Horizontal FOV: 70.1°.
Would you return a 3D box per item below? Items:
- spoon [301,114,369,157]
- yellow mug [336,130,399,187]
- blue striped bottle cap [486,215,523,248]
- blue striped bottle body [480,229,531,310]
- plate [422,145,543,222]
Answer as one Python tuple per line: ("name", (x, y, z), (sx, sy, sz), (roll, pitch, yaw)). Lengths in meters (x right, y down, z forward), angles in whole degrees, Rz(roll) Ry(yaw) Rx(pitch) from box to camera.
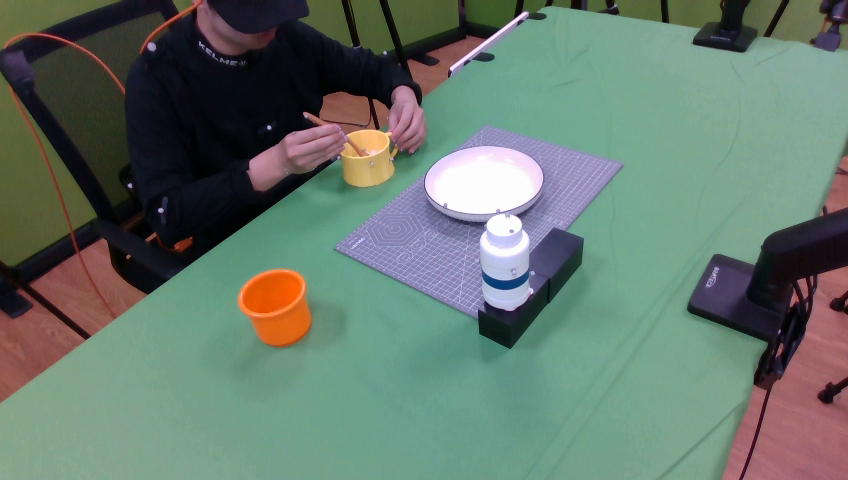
("spoon", (-0.141, -0.177, 1.087), (0.021, 0.195, 0.041), (-41, 43, 17))
("yellow mug", (-0.098, -0.161, 1.138), (0.131, 0.064, 0.099), (-33, 47, -28))
("blue striped bottle cap", (0.098, -0.011, 0.735), (0.044, 0.021, 0.044), (-3, 38, 3))
("blue striped bottle body", (0.104, 0.027, 0.769), (0.063, 0.121, 0.063), (-4, 40, 4))
("plate", (0.101, -0.094, 1.048), (0.207, 0.039, 0.206), (-4, 41, 4))
